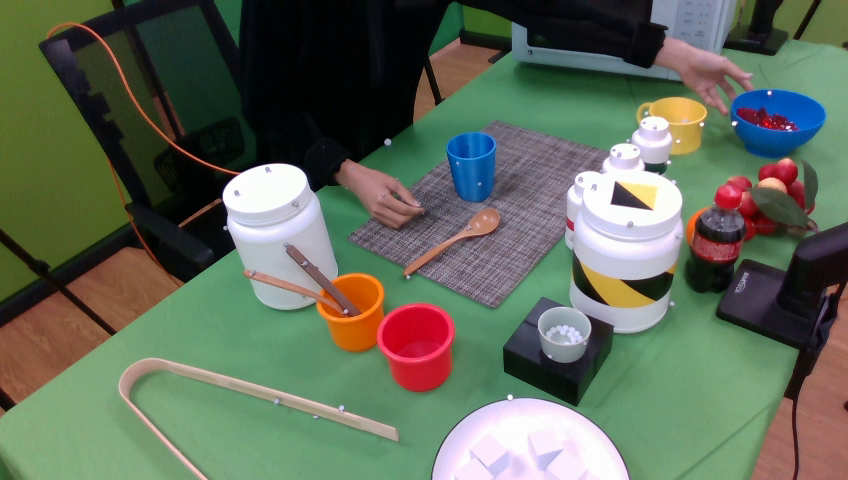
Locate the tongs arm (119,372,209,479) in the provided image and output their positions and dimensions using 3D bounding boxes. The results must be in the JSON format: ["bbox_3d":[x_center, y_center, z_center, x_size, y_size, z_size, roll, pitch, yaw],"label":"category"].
[{"bbox_3d":[-0.258,0.257,0.700,0.384,0.028,0.028,24,55,34],"label":"tongs arm"}]

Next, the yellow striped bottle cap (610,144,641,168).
[{"bbox_3d":[0.307,-0.128,0.923,0.044,0.019,0.044,-5,39,5],"label":"yellow striped bottle cap"}]

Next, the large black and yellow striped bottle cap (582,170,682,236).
[{"bbox_3d":[0.252,-0.048,0.735,0.115,0.019,0.114,-3,40,3],"label":"large black and yellow striped bottle cap"}]

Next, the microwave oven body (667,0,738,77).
[{"bbox_3d":[0.462,-0.552,1.368,0.439,0.261,0.326,15,45,26],"label":"microwave oven body"}]

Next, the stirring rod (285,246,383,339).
[{"bbox_3d":[-0.121,0.071,0.819,0.176,0.006,0.014,44,52,-6],"label":"stirring rod"}]

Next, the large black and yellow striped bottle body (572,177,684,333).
[{"bbox_3d":[0.262,0.017,0.788,0.131,0.185,0.130,-5,40,4],"label":"large black and yellow striped bottle body"}]

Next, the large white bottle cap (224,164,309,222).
[{"bbox_3d":[-0.216,-0.066,0.829,0.115,0.018,0.114,-4,40,4],"label":"large white bottle cap"}]

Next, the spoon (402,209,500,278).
[{"bbox_3d":[0.043,0.005,0.957,0.194,0.021,0.041,-30,67,-24],"label":"spoon"}]

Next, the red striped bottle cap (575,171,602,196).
[{"bbox_3d":[0.242,-0.081,0.876,0.044,0.018,0.044,-5,44,5],"label":"red striped bottle cap"}]

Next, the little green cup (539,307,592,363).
[{"bbox_3d":[0.169,0.115,0.721,0.061,0.039,0.061,-4,42,4],"label":"little green cup"}]

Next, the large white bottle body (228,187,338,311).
[{"bbox_3d":[-0.207,-0.002,0.883,0.130,0.185,0.130,-4,40,4],"label":"large white bottle body"}]

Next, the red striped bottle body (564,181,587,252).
[{"bbox_3d":[0.246,-0.041,0.909,0.063,0.120,0.062,-2,38,2],"label":"red striped bottle body"}]

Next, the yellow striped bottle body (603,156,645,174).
[{"bbox_3d":[0.313,-0.089,0.956,0.063,0.121,0.062,-4,40,4],"label":"yellow striped bottle body"}]

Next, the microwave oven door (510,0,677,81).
[{"bbox_3d":[0.353,-0.477,1.290,0.353,0.245,0.039,15,44,25],"label":"microwave oven door"}]

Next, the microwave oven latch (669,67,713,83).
[{"bbox_3d":[0.556,-0.349,1.261,0.078,0.029,0.030,16,46,27],"label":"microwave oven latch"}]

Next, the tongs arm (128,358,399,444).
[{"bbox_3d":[-0.213,0.205,0.755,0.382,0.026,0.051,12,46,23],"label":"tongs arm"}]

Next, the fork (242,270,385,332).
[{"bbox_3d":[-0.142,0.082,0.802,0.209,0.018,0.028,28,38,-26],"label":"fork"}]

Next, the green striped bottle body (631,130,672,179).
[{"bbox_3d":[0.375,-0.140,1.007,0.063,0.120,0.063,-5,41,5],"label":"green striped bottle body"}]

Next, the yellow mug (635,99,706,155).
[{"bbox_3d":[0.452,-0.216,1.129,0.100,0.064,0.129,-32,45,-29],"label":"yellow mug"}]

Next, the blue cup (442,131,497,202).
[{"bbox_3d":[0.084,-0.121,1.039,0.092,0.100,0.092,-4,42,4],"label":"blue cup"}]

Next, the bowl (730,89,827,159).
[{"bbox_3d":[0.615,-0.197,1.069,0.151,0.077,0.150,-5,40,5],"label":"bowl"}]

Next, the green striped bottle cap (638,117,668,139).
[{"bbox_3d":[0.369,-0.180,0.974,0.044,0.020,0.044,-4,41,4],"label":"green striped bottle cap"}]

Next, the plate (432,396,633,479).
[{"bbox_3d":[0.112,0.261,0.634,0.209,0.038,0.208,-5,40,4],"label":"plate"}]
